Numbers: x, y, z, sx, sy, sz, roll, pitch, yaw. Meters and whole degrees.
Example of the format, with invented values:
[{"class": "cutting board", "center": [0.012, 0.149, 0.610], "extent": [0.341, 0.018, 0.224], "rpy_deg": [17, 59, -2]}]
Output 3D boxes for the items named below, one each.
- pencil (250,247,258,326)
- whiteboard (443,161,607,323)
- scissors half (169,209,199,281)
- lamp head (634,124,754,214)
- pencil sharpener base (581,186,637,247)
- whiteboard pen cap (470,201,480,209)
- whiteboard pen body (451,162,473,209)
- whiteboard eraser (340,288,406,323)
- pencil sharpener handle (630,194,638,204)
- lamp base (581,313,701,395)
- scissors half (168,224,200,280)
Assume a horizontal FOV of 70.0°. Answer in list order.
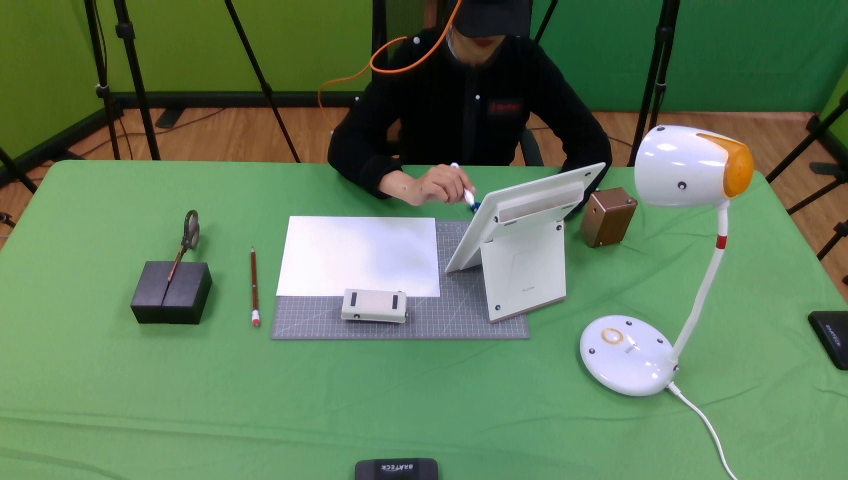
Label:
[{"class": "pencil", "center": [-0.312, 0.079, 1.107], "extent": [0.012, 0.012, 0.192], "rpy_deg": [-7, 46, -11]}, {"class": "whiteboard", "center": [0.185, 0.025, 1.029], "extent": [0.217, 0.306, 0.143], "rpy_deg": [-15, 68, -18]}, {"class": "scissors half", "center": [-0.437, 0.007, 1.098], "extent": [0.013, 0.040, 0.174], "rpy_deg": [3, 48, -3]}, {"class": "lamp head", "center": [0.351, -0.089, 0.776], "extent": [0.112, 0.113, 0.122], "rpy_deg": [-30, 30, -28]}, {"class": "pencil sharpener base", "center": [0.369, -0.047, 1.209], "extent": [0.077, 0.107, 0.061], "rpy_deg": [-11, 47, -15]}, {"class": "whiteboard pen cap", "center": [0.113, -0.073, 1.279], "extent": [0.033, 0.018, 0.018], "rpy_deg": [5, 46, 6]}, {"class": "whiteboard pen body", "center": [0.073, -0.102, 1.130], "extent": [0.017, 0.017, 0.140], "rpy_deg": [-6, 43, -10]}, {"class": "whiteboard eraser", "center": [-0.088, 0.117, 1.060], "extent": [0.113, 0.042, 0.055], "rpy_deg": [3, 45, -1]}, {"class": "pencil sharpener handle", "center": [0.417, -0.068, 1.215], "extent": [0.031, 0.068, 0.036], "rpy_deg": [-11, 60, -14]}, {"class": "lamp base", "center": [0.361, 0.144, 0.973], "extent": [0.178, 0.181, 0.160], "rpy_deg": [34, 53, 23]}, {"class": "scissors half", "center": [-0.440, 0.023, 1.111], "extent": [0.013, 0.040, 0.174], "rpy_deg": [7, 29, -6]}]
